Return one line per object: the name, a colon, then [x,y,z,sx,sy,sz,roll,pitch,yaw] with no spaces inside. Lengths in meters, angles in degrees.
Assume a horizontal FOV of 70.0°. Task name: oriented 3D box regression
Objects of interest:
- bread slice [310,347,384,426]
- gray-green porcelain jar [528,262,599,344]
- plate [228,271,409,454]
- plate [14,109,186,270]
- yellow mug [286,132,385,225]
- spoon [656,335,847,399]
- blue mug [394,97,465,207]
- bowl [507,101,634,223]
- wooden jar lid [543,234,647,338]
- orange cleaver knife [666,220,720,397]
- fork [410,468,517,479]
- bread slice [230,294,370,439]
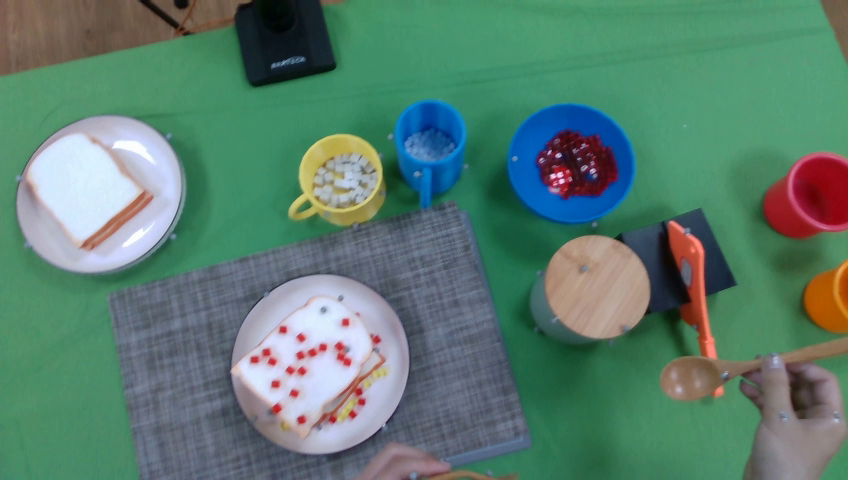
bread slice: [-0.128,0.153,0.714,0.104,0.019,0.131,42,77,10]
gray-green porcelain jar: [0.177,0.063,0.690,0.106,0.127,0.105,0,77,0]
plate: [-0.121,0.141,0.712,0.209,0.038,0.208,0,77,0]
plate: [-0.400,-0.062,0.761,0.208,0.039,0.206,0,77,0]
yellow mug: [-0.113,-0.066,0.749,0.131,0.064,0.099,-35,79,-6]
spoon: [0.309,0.109,0.547,0.193,0.022,0.041,-21,74,30]
blue mug: [0.005,-0.098,0.737,0.082,0.106,0.116,6,77,2]
bowl: [0.172,-0.085,0.749,0.151,0.077,0.150,0,77,0]
wooden jar lid: [0.176,0.048,0.629,0.108,0.021,0.108,1,79,-3]
orange cleaver knife: [0.313,0.080,0.709,0.012,0.077,0.212,-16,104,-3]
fork: [0.035,0.206,0.523,0.028,0.209,0.018,-19,62,24]
bread slice: [-0.126,0.126,0.656,0.107,0.018,0.134,40,74,3]
